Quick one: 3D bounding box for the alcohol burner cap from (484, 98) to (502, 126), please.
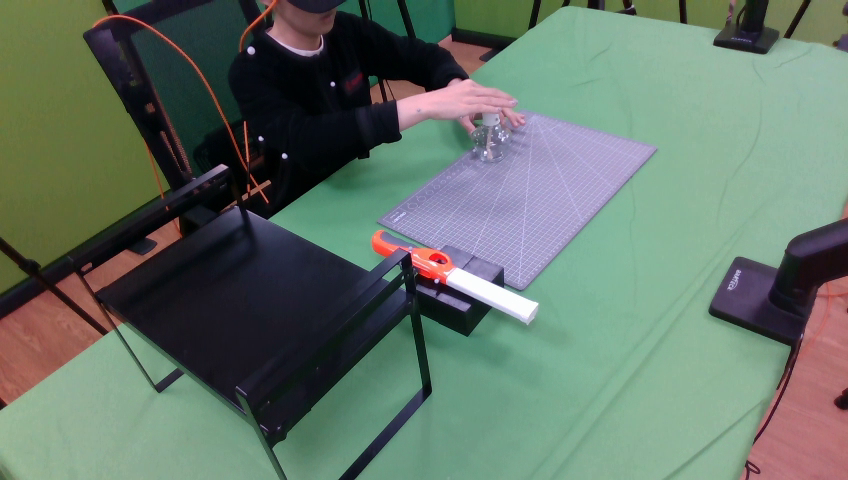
[{"bbox_3d":[0.124,-0.235,1.100,0.034,0.048,0.033,-8,40,7],"label":"alcohol burner cap"}]

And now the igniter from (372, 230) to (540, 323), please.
[{"bbox_3d":[0.032,0.045,0.842,0.274,0.025,0.057,24,47,28],"label":"igniter"}]

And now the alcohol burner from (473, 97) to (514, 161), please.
[{"bbox_3d":[0.128,-0.208,1.123,0.078,0.119,0.077,-5,39,5],"label":"alcohol burner"}]
